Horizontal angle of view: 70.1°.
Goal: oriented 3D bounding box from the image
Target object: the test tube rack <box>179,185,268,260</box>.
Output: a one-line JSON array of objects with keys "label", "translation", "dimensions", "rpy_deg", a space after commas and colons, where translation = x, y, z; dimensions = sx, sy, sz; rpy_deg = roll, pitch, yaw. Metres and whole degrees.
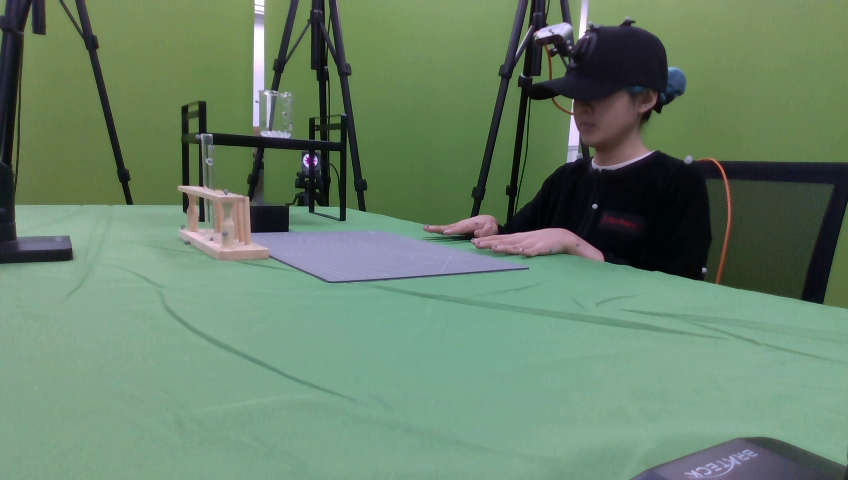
[{"label": "test tube rack", "translation": [-0.303, -0.031, 0.898], "dimensions": [0.067, 0.085, 0.241], "rpy_deg": [-2, 9, -33]}]

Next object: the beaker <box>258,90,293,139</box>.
[{"label": "beaker", "translation": [-0.324, -0.274, 1.326], "dimensions": [0.074, 0.100, 0.083], "rpy_deg": [-2, 10, -33]}]

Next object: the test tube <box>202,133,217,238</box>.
[{"label": "test tube", "translation": [-0.307, -0.078, 0.868], "dimensions": [0.017, 0.150, 0.017], "rpy_deg": [1, 10, 0]}]
